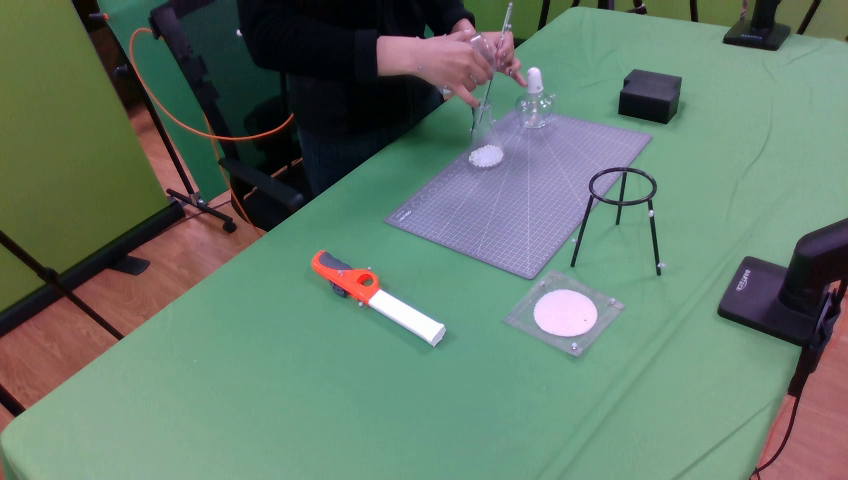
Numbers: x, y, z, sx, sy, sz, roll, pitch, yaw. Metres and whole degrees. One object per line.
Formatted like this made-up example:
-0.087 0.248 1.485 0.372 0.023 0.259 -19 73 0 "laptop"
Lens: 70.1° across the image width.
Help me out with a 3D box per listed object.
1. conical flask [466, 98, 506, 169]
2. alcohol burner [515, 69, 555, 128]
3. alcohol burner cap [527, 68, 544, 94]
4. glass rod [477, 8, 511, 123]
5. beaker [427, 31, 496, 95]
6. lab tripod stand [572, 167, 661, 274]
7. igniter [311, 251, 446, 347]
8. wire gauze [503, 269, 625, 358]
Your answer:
0.111 -0.199 1.116 0.075 0.122 0.075 -5 41 5 "conical flask"
0.221 -0.285 1.203 0.078 0.119 0.077 -4 39 4 "alcohol burner"
0.216 -0.312 1.179 0.034 0.048 0.033 -9 40 8 "alcohol burner cap"
0.123 -0.302 1.059 0.008 0.200 0.008 13 22 -5 "glass rod"
0.064 -0.297 1.032 0.100 0.084 0.073 -27 38 -3 "beaker"
0.283 -0.030 0.879 0.148 0.132 0.147 -7 38 6 "lab tripod stand"
-0.078 0.081 0.899 0.274 0.025 0.057 27 62 35 "igniter"
0.194 0.100 0.840 0.120 0.011 0.125 27 54 36 "wire gauze"
